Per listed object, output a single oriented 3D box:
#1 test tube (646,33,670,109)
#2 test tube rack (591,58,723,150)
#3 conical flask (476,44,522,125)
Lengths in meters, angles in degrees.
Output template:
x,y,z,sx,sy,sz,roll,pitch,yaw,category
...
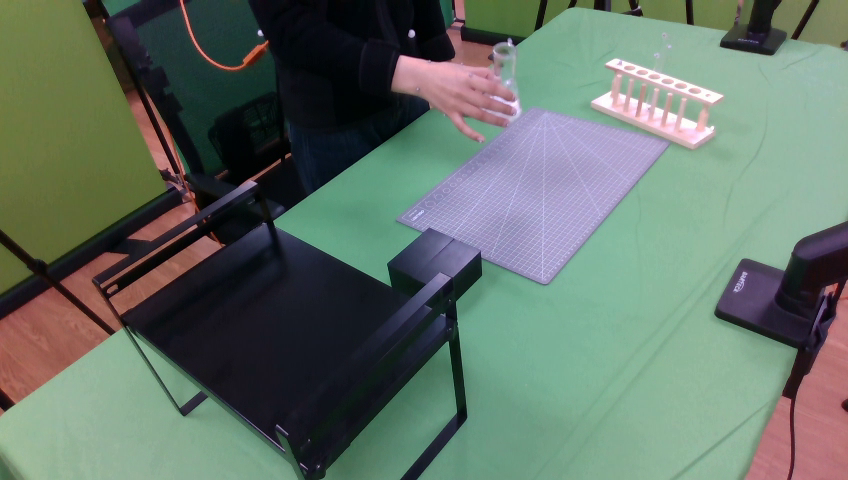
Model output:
x,y,z,sx,sy,sz,roll,pitch,yaw,category
0.445,-0.319,1.154,0.017,0.151,0.017,-1,41,2,test tube
0.442,-0.269,1.171,0.067,0.085,0.240,-30,46,-23,test tube rack
0.123,-0.247,0.952,0.075,0.122,0.075,0,54,0,conical flask
